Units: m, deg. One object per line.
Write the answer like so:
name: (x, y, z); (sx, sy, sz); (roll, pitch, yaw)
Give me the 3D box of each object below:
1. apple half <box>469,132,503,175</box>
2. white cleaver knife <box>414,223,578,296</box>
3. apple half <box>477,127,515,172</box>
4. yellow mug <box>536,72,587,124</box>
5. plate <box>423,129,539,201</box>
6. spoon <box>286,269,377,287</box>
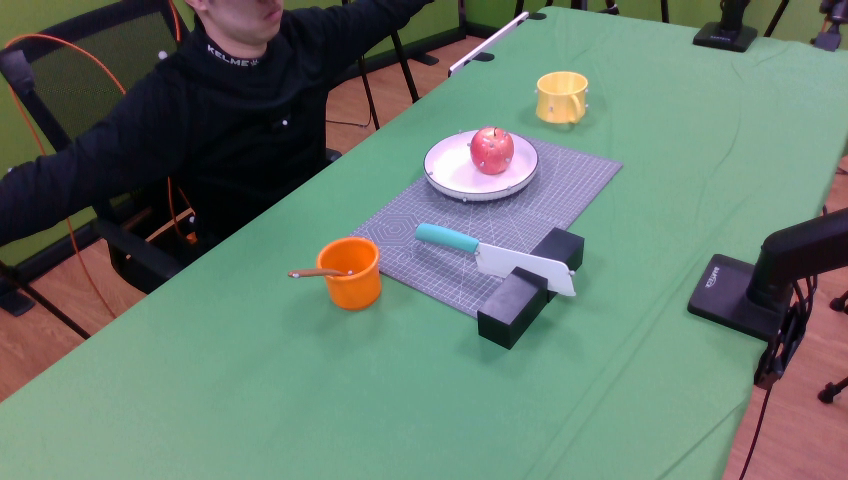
apple half: (0.102, -0.146, 1.067); (0.033, 0.081, 0.080); (-28, 44, -29)
white cleaver knife: (0.093, 0.028, 0.880); (0.284, 0.066, 0.021); (17, 44, 40)
apple half: (0.132, -0.164, 1.085); (0.053, 0.075, 0.080); (-28, 41, -28)
yellow mug: (0.284, -0.281, 1.222); (0.100, 0.064, 0.130); (-16, 42, -9)
plate: (0.103, -0.132, 1.092); (0.209, 0.038, 0.208); (-4, 40, 4)
spoon: (-0.125, 0.049, 0.831); (0.041, 0.195, 0.021); (22, 92, 28)
